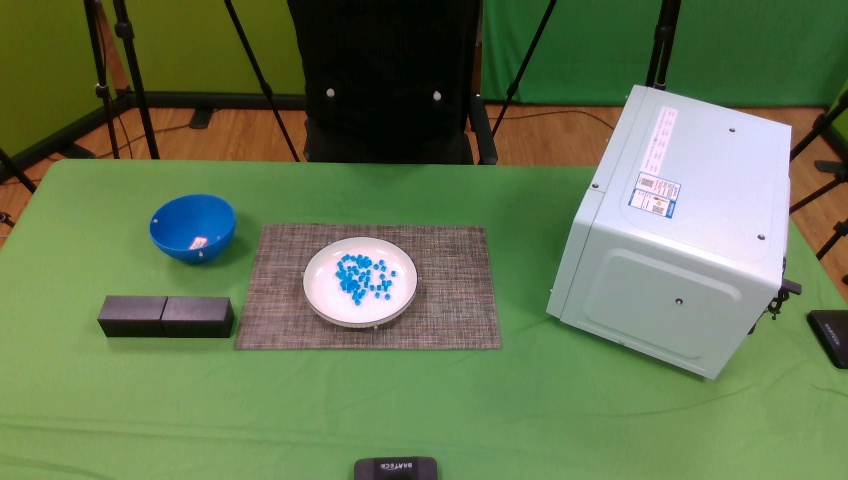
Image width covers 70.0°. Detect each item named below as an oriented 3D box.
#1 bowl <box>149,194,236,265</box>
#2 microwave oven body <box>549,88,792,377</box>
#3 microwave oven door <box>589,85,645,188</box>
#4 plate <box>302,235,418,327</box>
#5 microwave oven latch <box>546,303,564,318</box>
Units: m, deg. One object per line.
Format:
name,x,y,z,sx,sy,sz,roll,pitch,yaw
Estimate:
bowl,-0.425,-0.009,1.134,0.151,0.077,0.150,2,46,-2
microwave oven body,0.456,-0.028,1.088,0.325,0.261,0.440,20,47,16
microwave oven door,0.342,-0.107,1.149,0.039,0.245,0.354,20,48,15
plate,-0.114,0.077,1.098,0.208,0.039,0.206,2,46,-2
microwave oven latch,0.242,0.102,1.081,0.030,0.029,0.079,21,48,17
